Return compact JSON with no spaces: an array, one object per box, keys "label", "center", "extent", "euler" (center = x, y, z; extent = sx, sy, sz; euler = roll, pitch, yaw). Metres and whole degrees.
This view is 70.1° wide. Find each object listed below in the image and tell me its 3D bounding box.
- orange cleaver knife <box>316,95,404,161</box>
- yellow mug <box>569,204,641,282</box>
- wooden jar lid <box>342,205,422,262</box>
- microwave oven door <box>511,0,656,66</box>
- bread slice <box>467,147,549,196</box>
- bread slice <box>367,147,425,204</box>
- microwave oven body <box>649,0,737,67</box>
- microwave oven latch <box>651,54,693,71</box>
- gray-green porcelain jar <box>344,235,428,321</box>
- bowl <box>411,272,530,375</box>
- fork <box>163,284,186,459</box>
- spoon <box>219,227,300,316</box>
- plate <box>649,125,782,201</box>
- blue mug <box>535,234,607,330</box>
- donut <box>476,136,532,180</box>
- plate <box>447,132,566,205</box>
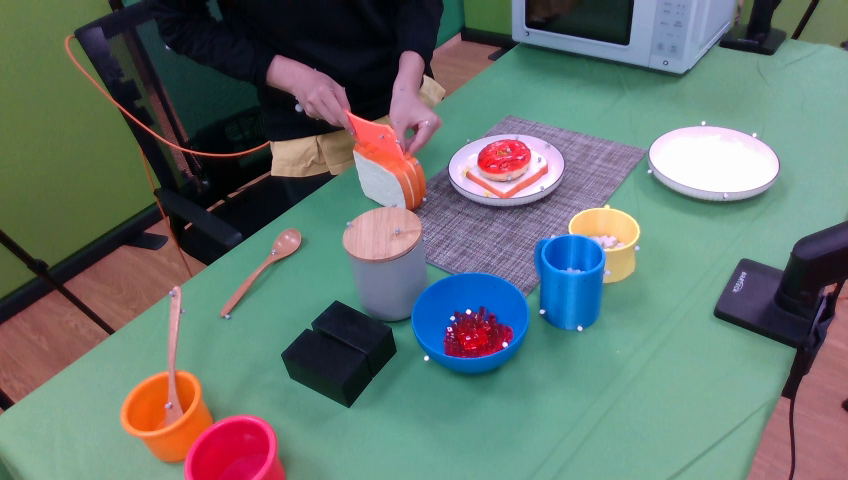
[{"label":"orange cleaver knife","center":[-0.112,-0.194,1.042],"extent":[0.209,0.077,0.012],"euler":[31,58,34]},{"label":"yellow mug","center":[0.268,-0.005,0.904],"extent":[0.099,0.064,0.130],"euler":[7,41,15]},{"label":"wooden jar lid","center":[-0.055,-0.006,0.808],"extent":[0.108,0.021,0.108],"euler":[-6,40,6]},{"label":"microwave oven door","center":[0.351,-0.540,1.349],"extent":[0.353,0.245,0.039],"euler":[24,50,31]},{"label":"bread slice","center":[0.156,-0.128,1.085],"extent":[0.132,0.019,0.104],"euler":[-34,49,-23]},{"label":"bread slice","center":[-0.050,-0.119,1.054],"extent":[0.133,0.107,0.018],"euler":[34,53,30]},{"label":"microwave oven body","center":[0.475,-0.602,1.411],"extent":[0.438,0.261,0.327],"euler":[23,50,32]},{"label":"microwave oven latch","center":[0.531,-0.386,1.301],"extent":[0.078,0.029,0.030],"euler":[26,51,33]},{"label":"gray-green porcelain jar","center":[-0.049,0.042,0.849],"extent":[0.106,0.127,0.105],"euler":[-4,41,4]},{"label":"bowl","center":[0.061,0.120,0.780],"extent":[0.151,0.077,0.150],"euler":[-4,40,4]},{"label":"fork","center":[-0.302,0.157,0.733],"extent":[0.028,0.019,0.207],"euler":[-3,84,15]},{"label":"spoon","center":[-0.261,0.046,0.954],"extent":[0.041,0.021,0.194],"euler":[27,48,10]},{"label":"plate","center":[0.493,-0.128,1.036],"extent":[0.207,0.039,0.206],"euler":[-4,41,4]},{"label":"blue mug","center":[0.191,0.048,0.824],"extent":[0.082,0.106,0.115],"euler":[-26,44,-20]},{"label":"donut","center":[0.140,-0.146,1.059],"extent":[0.099,0.048,0.098],"euler":[-7,41,6]},{"label":"plate","center":[0.146,-0.124,1.076],"extent":[0.209,0.038,0.208],"euler":[-3,41,3]}]
